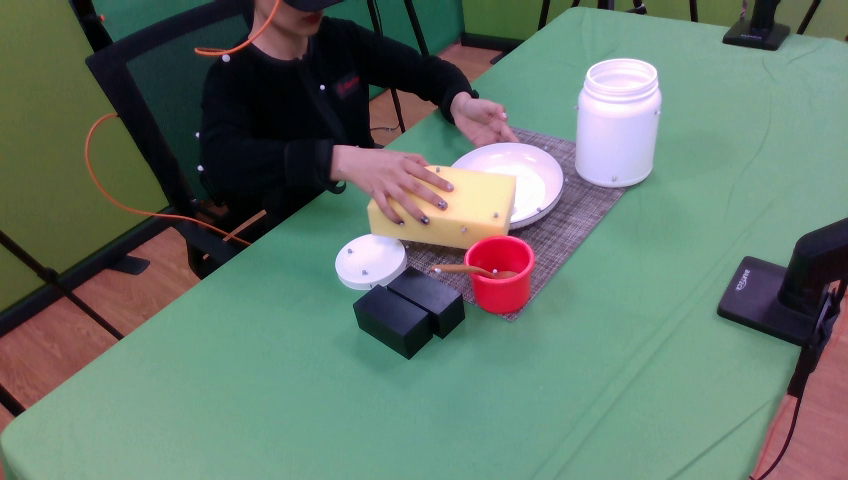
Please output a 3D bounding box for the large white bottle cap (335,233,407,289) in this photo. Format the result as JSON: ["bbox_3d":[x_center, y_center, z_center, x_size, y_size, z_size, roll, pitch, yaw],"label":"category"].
[{"bbox_3d":[-0.085,0.031,0.961,0.115,0.018,0.114,-7,42,7],"label":"large white bottle cap"}]

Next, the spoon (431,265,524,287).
[{"bbox_3d":[0.074,0.044,0.816,0.195,0.021,0.041,14,15,-48],"label":"spoon"}]

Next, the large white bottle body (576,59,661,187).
[{"bbox_3d":[0.326,-0.197,1.021,0.130,0.185,0.130,-5,40,5],"label":"large white bottle body"}]

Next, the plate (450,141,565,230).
[{"bbox_3d":[0.134,-0.089,1.030,0.209,0.038,0.208,-7,47,8],"label":"plate"}]

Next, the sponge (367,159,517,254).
[{"bbox_3d":[0.031,-0.054,0.930,0.206,0.061,0.118,8,47,10],"label":"sponge"}]
